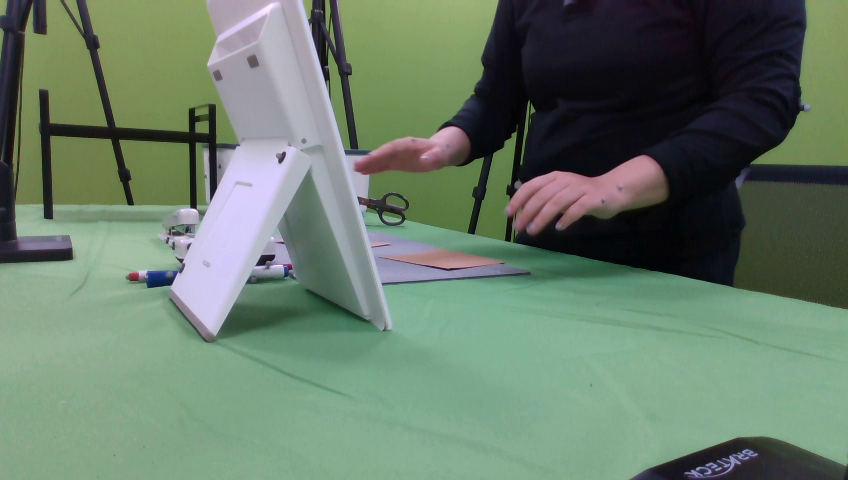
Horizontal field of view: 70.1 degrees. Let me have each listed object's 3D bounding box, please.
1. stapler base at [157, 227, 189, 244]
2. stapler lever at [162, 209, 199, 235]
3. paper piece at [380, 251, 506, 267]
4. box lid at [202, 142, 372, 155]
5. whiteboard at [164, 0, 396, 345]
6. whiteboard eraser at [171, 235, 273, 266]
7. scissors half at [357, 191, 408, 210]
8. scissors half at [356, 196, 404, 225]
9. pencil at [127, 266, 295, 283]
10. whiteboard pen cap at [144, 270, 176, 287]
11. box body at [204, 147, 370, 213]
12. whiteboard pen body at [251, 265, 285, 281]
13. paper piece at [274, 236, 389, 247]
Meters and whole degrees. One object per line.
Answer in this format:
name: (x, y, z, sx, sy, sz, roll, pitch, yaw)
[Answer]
stapler base: (-0.376, -0.008, 0.935, 0.041, 0.024, 0.130, 1, 5, -38)
stapler lever: (-0.376, -0.031, 0.933, 0.027, 0.040, 0.117, 0, 7, -38)
paper piece: (0.026, 0.026, 0.865, 0.134, 0.004, 0.136, 7, 7, 43)
box lid: (-0.344, -0.225, 1.509, 0.373, 0.015, 0.262, -2, 8, -31)
whiteboard: (-0.173, -0.053, 0.511, 0.144, 0.305, 0.216, -23, 19, -26)
whiteboard eraser: (-0.248, 0.014, 0.747, 0.113, 0.042, 0.055, -1, 10, -32)
scissors half: (-0.123, -0.092, 1.318, 0.175, 0.040, 0.013, 6, 11, -3)
scissors half: (-0.127, -0.072, 1.321, 0.175, 0.040, 0.013, 22, 5, -5)
pencil: (-0.231, 0.037, 0.691, 0.195, 0.012, 0.012, -2, 9, -34)
whiteboard pen cap: (-0.271, 0.039, 0.627, 0.033, 0.018, 0.018, -3, 10, -33)
box body: (-0.346, -0.152, 1.520, 0.366, 0.160, 0.253, -1, 9, -31)
whiteboard pen body: (-0.220, 0.039, 0.656, 0.141, 0.017, 0.017, -2, 9, -31)
paper piece: (-0.151, 0.003, 0.978, 0.135, 0.008, 0.139, 13, 10, 35)
